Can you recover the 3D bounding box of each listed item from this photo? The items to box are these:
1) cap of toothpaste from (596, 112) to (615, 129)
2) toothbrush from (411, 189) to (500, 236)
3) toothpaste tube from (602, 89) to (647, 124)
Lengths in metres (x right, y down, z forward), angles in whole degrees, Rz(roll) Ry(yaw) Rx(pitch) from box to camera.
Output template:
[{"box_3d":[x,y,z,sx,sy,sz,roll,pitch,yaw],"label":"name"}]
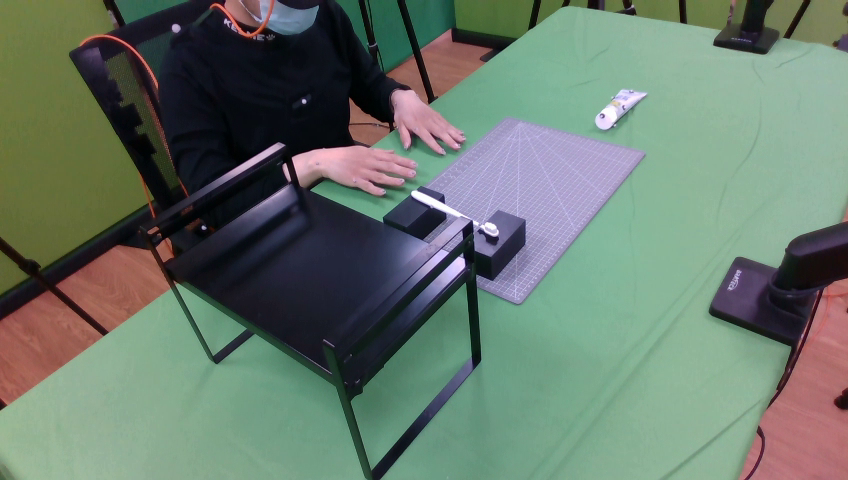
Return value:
[{"box_3d":[0.354,-0.233,1.177,0.037,0.037,0.011,20,44,28],"label":"cap of toothpaste"},{"box_3d":[0.044,-0.046,0.940,0.180,0.017,0.014,28,67,36],"label":"toothbrush"},{"box_3d":[0.400,-0.274,1.227,0.054,0.034,0.165,22,45,26],"label":"toothpaste tube"}]
